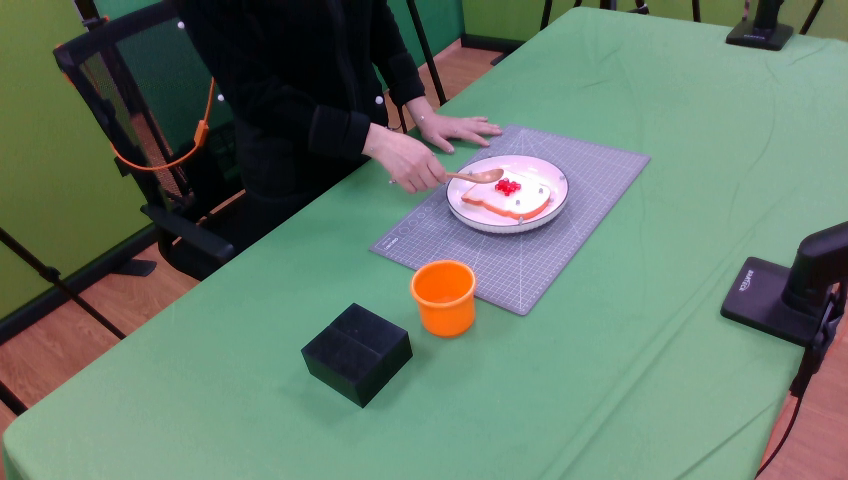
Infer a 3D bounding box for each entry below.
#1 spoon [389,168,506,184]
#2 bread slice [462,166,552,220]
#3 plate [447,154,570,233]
[{"bbox_3d":[0.039,-0.106,1.003,0.194,0.022,0.041,0,38,-7],"label":"spoon"},{"bbox_3d":[0.150,-0.079,1.036,0.133,0.018,0.107,22,50,32],"label":"bread slice"},{"bbox_3d":[0.143,-0.076,1.032,0.209,0.038,0.208,-5,40,5],"label":"plate"}]
